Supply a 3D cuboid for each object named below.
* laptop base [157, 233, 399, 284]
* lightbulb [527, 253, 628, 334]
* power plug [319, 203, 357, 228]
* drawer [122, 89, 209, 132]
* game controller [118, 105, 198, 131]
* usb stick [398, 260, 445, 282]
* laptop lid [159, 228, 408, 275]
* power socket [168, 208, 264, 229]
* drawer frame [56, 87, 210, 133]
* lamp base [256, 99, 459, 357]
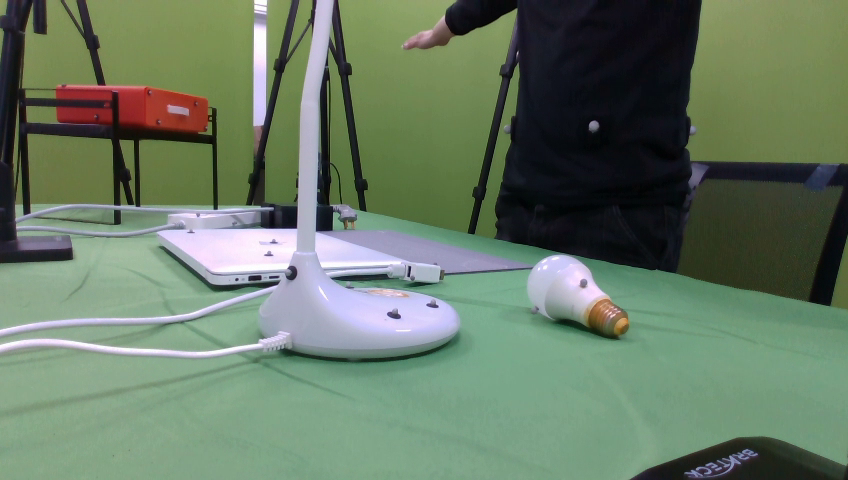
[{"bbox_3d":[-0.204,0.019,0.806,0.237,0.023,0.352,0,7,-33],"label":"laptop base"},{"bbox_3d":[0.137,0.050,0.534,0.060,0.059,0.107,-3,24,-33],"label":"lightbulb"},{"bbox_3d":[-0.170,-0.046,1.209,0.073,0.052,0.035,-6,-18,-9],"label":"power plug"},{"bbox_3d":[-0.595,-0.268,1.263,0.211,0.073,0.195,4,8,15],"label":"drawer"},{"bbox_3d":[-0.554,-0.253,1.254,0.097,0.051,0.155,6,11,19],"label":"game controller"},{"bbox_3d":[0.000,0.036,0.696,0.027,0.021,0.059,7,-1,43],"label":"usb stick"},{"bbox_3d":[-0.201,0.007,0.806,0.243,0.013,0.355,-1,8,-31],"label":"laptop lid"},{"bbox_3d":[-0.381,-0.038,1.128,0.072,0.032,0.227,4,8,16],"label":"power socket"},{"bbox_3d":[-0.598,-0.269,1.261,0.213,0.082,0.202,4,8,14],"label":"drawer frame"},{"bbox_3d":[-0.055,-0.013,0.463,0.160,0.180,0.180,6,11,27],"label":"lamp base"}]
